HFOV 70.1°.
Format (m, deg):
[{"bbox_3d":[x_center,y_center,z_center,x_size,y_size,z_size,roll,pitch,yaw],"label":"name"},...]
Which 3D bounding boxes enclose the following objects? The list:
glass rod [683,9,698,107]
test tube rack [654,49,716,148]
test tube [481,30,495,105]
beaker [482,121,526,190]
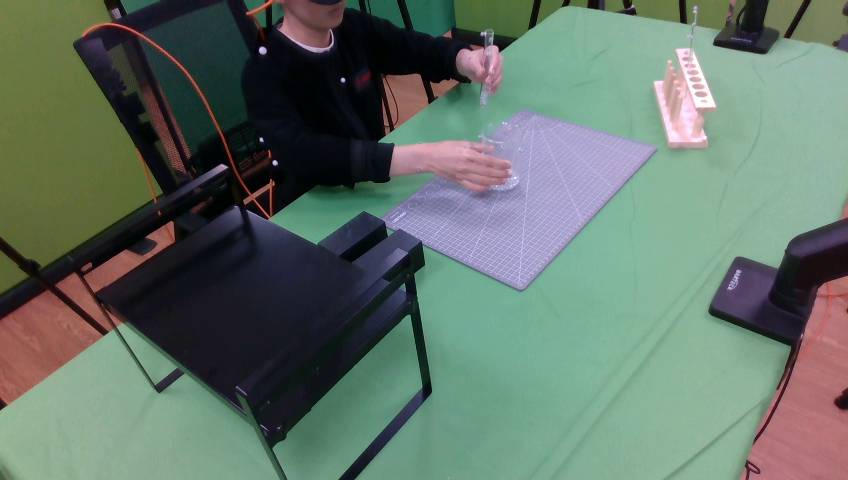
[{"bbox_3d":[0.501,-0.336,1.139,0.008,0.201,0.008,-8,42,8],"label":"glass rod"},{"bbox_3d":[0.502,-0.281,1.176,0.066,0.085,0.241,2,41,11],"label":"test tube rack"},{"bbox_3d":[0.116,-0.311,1.106,0.017,0.151,0.017,0,47,1],"label":"test tube"},{"bbox_3d":[0.138,-0.145,1.046,0.073,0.100,0.084,13,41,19],"label":"beaker"}]
